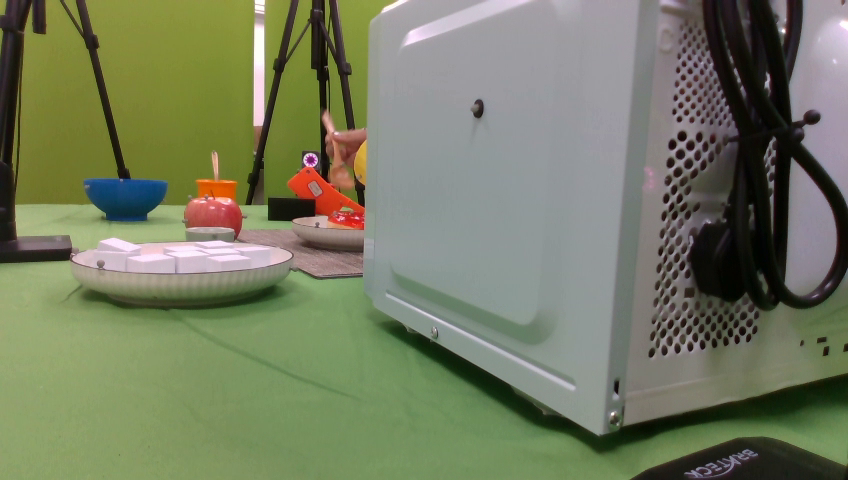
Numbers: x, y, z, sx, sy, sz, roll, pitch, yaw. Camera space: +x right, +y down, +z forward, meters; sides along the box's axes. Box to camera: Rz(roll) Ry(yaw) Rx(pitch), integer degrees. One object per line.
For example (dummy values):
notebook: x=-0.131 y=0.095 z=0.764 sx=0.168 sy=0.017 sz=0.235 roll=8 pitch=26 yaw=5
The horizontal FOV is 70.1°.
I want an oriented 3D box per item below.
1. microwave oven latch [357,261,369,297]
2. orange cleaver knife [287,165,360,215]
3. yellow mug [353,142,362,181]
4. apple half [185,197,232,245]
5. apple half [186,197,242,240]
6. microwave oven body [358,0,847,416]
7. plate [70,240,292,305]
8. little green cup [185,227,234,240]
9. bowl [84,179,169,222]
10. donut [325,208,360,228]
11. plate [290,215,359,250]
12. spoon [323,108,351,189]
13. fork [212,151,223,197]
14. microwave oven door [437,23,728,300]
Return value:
microwave oven latch: x=-0.019 y=0.033 z=0.530 sx=0.079 sy=0.029 sz=0.030 roll=-1 pitch=7 yaw=-27
orange cleaver knife: x=-0.211 y=-0.093 z=1.382 sx=0.212 sy=0.077 sz=0.012 roll=33 pitch=1 yaw=-15
yellow mug: x=-0.044 y=-0.122 z=0.889 sx=0.100 sy=0.131 sz=0.063 roll=-12 pitch=42 yaw=-35
apple half: x=-0.337 y=-0.031 z=0.927 sx=0.032 sy=0.081 sz=0.082 roll=13 pitch=13 yaw=37
apple half: x=-0.306 y=-0.026 z=0.904 sx=0.053 sy=0.074 sz=0.081 roll=14 pitch=9 yaw=37
microwave oven body: x=0.211 y=-0.047 z=0.474 sx=0.444 sy=0.260 sz=0.324 roll=-1 pitch=7 yaw=-28
plate: x=-0.242 y=0.031 z=0.618 sx=0.208 sy=0.039 sz=0.207 roll=2 pitch=8 yaw=0
little green cup: x=-0.285 y=0.005 z=0.805 sx=0.061 sy=0.038 sz=0.061 roll=2 pitch=8 yaw=0
bowl: x=-0.584 y=-0.078 z=1.194 sx=0.151 sy=0.077 sz=0.151 roll=3 pitch=8 yaw=0
donut: x=-0.110 y=-0.025 z=0.974 sx=0.099 sy=0.048 sz=0.099 roll=5 pitch=8 yaw=0
plate: x=-0.110 y=-0.013 z=0.973 sx=0.209 sy=0.038 sz=0.209 roll=3 pitch=8 yaw=0
spoon: x=-0.151 y=-0.157 z=1.014 sx=0.042 sy=0.193 sz=0.021 roll=9 pitch=-38 yaw=-30
fork: x=-0.494 y=-0.143 z=1.442 sx=0.028 sy=0.018 sz=0.206 roll=-2 pitch=52 yaw=-20
microwave oven door: x=0.181 y=-0.072 z=0.621 sx=0.358 sy=0.243 sz=0.039 roll=-2 pitch=8 yaw=-29
